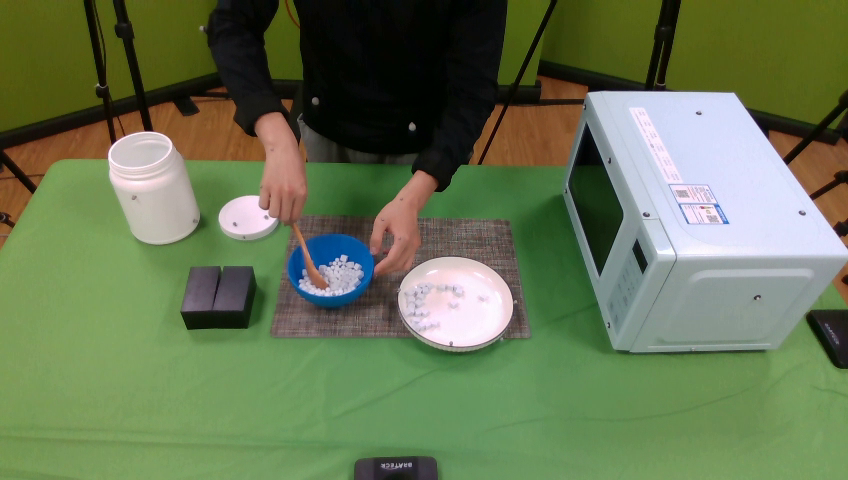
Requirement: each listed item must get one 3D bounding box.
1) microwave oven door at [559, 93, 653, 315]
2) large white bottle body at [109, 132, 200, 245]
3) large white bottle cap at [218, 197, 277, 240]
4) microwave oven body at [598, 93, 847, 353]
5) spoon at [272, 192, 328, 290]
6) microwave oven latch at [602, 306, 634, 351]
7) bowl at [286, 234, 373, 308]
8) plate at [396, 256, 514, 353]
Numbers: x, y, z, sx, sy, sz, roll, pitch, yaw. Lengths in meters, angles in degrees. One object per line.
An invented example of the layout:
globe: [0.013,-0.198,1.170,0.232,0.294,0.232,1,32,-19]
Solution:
microwave oven door: [0.327,-0.074,1.123,0.039,0.245,0.353,-1,46,-5]
large white bottle body: [-0.506,-0.097,1.141,0.131,0.185,0.130,2,46,-2]
large white bottle cap: [-0.355,-0.045,1.220,0.115,0.018,0.114,2,45,-2]
microwave oven body: [0.475,-0.041,1.109,0.326,0.261,0.438,-1,45,-4]
spoon: [-0.218,0.003,1.059,0.021,0.041,0.193,-24,87,-30]
microwave oven latch: [0.332,0.153,1.044,0.030,0.029,0.078,0,45,-4]
bowl: [-0.166,0.068,1.078,0.151,0.077,0.150,3,45,-3]
plate: [0.053,0.116,1.077,0.209,0.038,0.208,2,46,-2]
